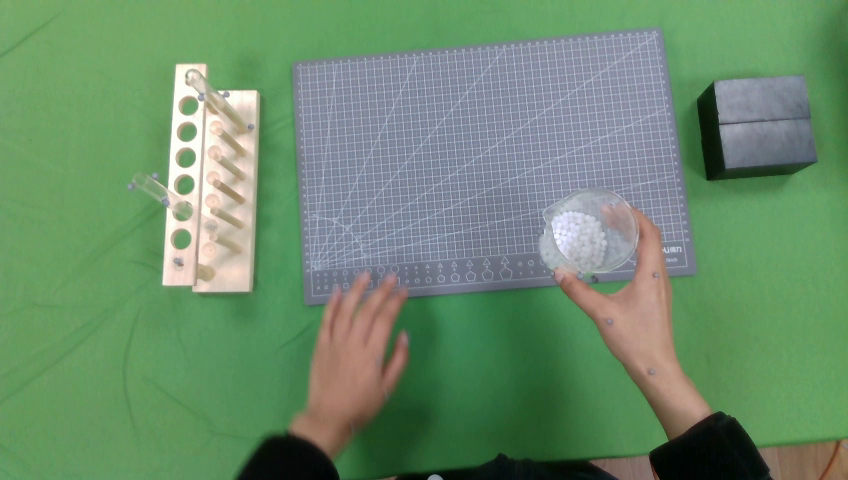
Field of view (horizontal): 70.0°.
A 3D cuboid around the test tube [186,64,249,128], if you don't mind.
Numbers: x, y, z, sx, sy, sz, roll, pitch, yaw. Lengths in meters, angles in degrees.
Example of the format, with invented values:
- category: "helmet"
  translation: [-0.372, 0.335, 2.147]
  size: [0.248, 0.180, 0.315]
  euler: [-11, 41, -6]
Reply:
- category: "test tube"
  translation: [-0.219, -0.152, 0.651]
  size: [0.017, 0.151, 0.017]
  euler: [0, 81, 2]

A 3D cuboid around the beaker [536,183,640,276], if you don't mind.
- category: "beaker"
  translation: [0.142, -0.006, 0.558]
  size: [0.084, 0.100, 0.074]
  euler: [21, 82, 5]

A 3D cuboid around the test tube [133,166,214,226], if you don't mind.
- category: "test tube"
  translation: [-0.257, -0.042, 0.633]
  size: [0.017, 0.151, 0.017]
  euler: [-1, 75, 5]

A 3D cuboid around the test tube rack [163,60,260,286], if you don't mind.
- category: "test tube rack"
  translation: [-0.236, -0.071, 0.686]
  size: [0.067, 0.085, 0.241]
  euler: [0, 82, 3]
